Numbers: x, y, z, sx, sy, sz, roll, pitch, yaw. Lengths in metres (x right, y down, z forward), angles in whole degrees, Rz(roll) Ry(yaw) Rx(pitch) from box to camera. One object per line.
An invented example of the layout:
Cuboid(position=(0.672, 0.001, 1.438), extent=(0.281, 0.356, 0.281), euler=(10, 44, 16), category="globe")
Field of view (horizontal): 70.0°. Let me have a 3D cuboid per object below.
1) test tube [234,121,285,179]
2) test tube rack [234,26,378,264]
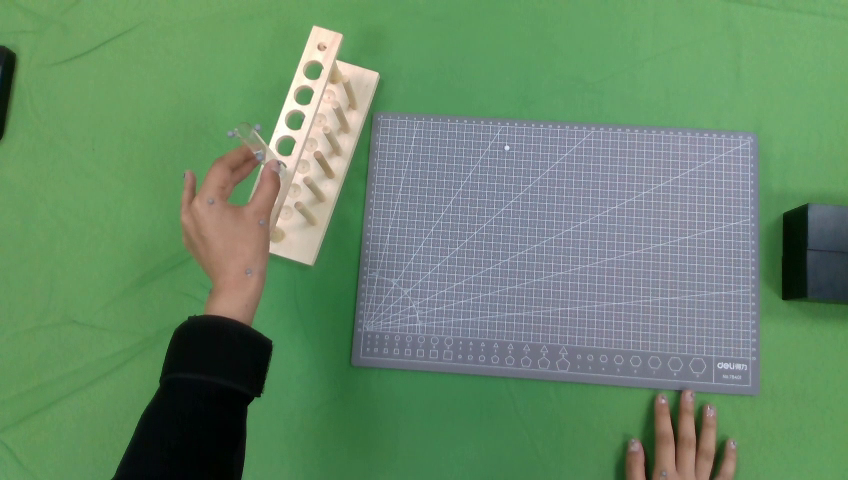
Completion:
Cuboid(position=(-0.152, -0.080, 0.580), extent=(0.017, 0.150, 0.017), euler=(0, 81, 0), category="test tube")
Cuboid(position=(-0.126, -0.101, 0.674), extent=(0.066, 0.085, 0.241), euler=(18, 82, 4), category="test tube rack")
